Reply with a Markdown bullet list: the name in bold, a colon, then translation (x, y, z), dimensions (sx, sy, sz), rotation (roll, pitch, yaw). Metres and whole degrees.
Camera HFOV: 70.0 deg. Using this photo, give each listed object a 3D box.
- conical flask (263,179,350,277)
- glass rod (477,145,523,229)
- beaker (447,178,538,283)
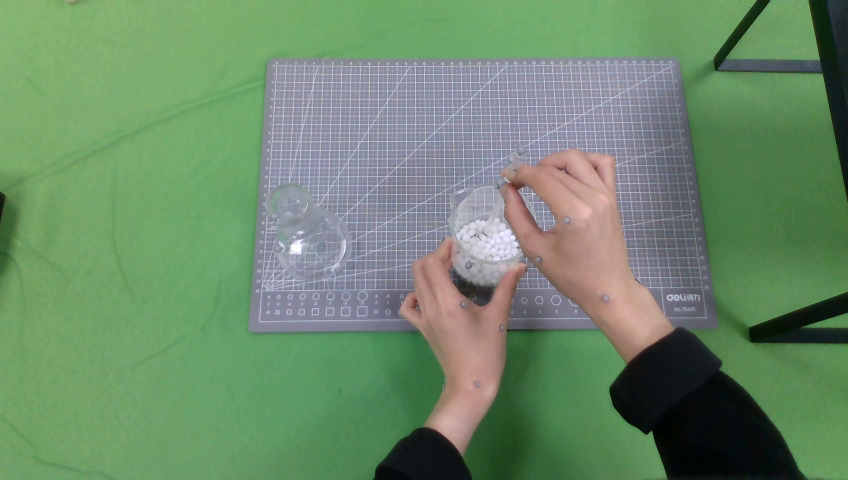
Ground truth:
- **conical flask**: translation (-0.111, -0.015, 0.545), dimensions (0.075, 0.122, 0.075), rotation (0, 73, 0)
- **glass rod**: translation (0.059, -0.038, 0.499), dimensions (0.008, 0.200, 0.008), rotation (1, 76, -2)
- **beaker**: translation (0.055, -0.005, 0.556), dimensions (0.083, 0.101, 0.074), rotation (36, 76, 11)
